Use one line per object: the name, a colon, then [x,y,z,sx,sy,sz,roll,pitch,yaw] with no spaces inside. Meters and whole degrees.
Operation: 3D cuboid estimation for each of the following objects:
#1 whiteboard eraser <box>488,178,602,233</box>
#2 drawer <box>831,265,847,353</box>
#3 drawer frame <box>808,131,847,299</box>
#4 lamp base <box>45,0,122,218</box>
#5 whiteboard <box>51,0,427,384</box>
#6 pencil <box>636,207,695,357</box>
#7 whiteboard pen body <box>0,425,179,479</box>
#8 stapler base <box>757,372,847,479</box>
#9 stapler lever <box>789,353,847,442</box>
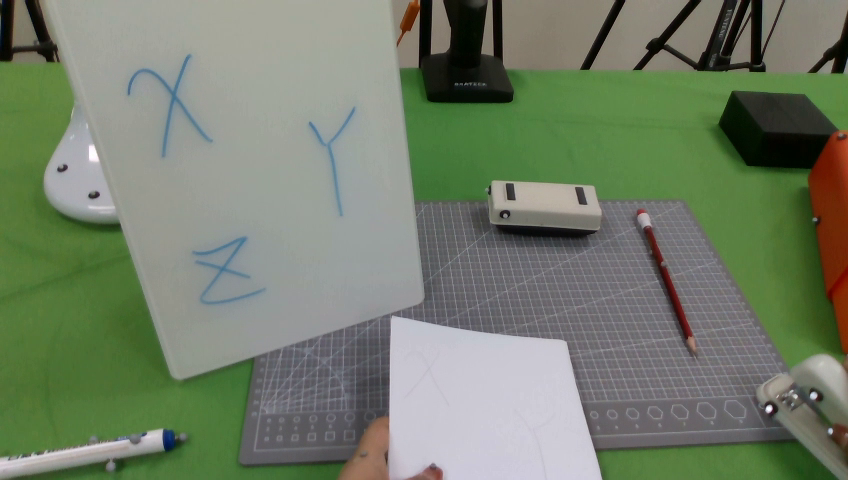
whiteboard eraser: [0.124,-0.035,0.629,0.113,0.042,0.055,4,43,-1]
drawer: [0.493,0.037,0.563,0.194,0.074,0.210,15,43,12]
drawer frame: [0.515,-0.007,0.610,0.201,0.083,0.212,16,43,12]
lamp base: [-0.319,-0.139,0.599,0.178,0.182,0.160,27,47,26]
whiteboard: [-0.136,-0.076,0.500,0.218,0.307,0.142,-15,27,-20]
pencil: [0.234,0.034,0.591,0.012,0.012,0.192,3,44,-2]
whiteboard pen body: [-0.245,0.148,0.417,0.141,0.017,0.017,-8,44,-13]
stapler base: [0.318,0.151,0.460,0.041,0.024,0.129,-21,52,-21]
stapler lever: [0.321,0.134,0.441,0.027,0.040,0.117,-21,53,-21]
